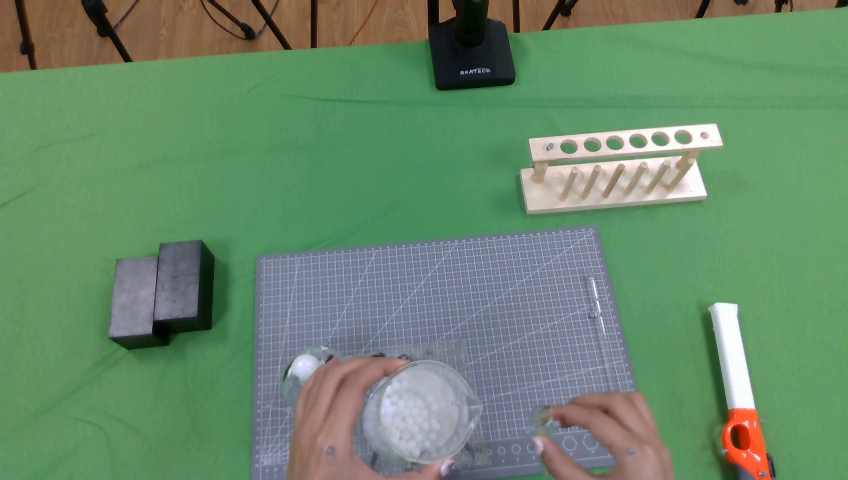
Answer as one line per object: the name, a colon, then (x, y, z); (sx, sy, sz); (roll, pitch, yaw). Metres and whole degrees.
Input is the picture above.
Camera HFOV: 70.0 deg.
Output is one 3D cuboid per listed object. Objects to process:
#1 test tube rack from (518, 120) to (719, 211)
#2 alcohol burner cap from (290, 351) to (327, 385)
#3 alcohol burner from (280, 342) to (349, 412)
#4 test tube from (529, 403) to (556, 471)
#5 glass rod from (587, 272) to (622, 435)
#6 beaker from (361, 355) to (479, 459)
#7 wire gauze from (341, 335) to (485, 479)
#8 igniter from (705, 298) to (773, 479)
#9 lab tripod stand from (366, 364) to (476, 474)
test tube rack: (0.253, -0.097, 0.797); (0.242, 0.086, 0.066); (-5, 65, -2)
alcohol burner cap: (-0.123, 0.132, 0.633); (0.034, 0.048, 0.033); (-2, 70, 5)
alcohol burner: (-0.123, 0.146, 0.666); (0.078, 0.120, 0.077); (0, 63, 0)
test tube: (0.101, 0.169, 0.511); (0.017, 0.152, 0.017); (-7, 55, 10)
glass rod: (0.217, 0.133, 0.732); (0.008, 0.008, 0.198); (-4, 68, -2)
beaker: (-0.008, 0.138, 0.488); (0.084, 0.100, 0.073); (-1, 70, -15)
wire gauze: (-0.012, 0.156, 0.577); (0.125, 0.011, 0.120); (-8, 65, -4)
igniter: (0.362, 0.200, 0.696); (0.057, 0.025, 0.274); (6, 66, -9)
lab tripod stand: (-0.011, 0.187, 0.637); (0.148, 0.132, 0.147); (-1, 65, 1)
